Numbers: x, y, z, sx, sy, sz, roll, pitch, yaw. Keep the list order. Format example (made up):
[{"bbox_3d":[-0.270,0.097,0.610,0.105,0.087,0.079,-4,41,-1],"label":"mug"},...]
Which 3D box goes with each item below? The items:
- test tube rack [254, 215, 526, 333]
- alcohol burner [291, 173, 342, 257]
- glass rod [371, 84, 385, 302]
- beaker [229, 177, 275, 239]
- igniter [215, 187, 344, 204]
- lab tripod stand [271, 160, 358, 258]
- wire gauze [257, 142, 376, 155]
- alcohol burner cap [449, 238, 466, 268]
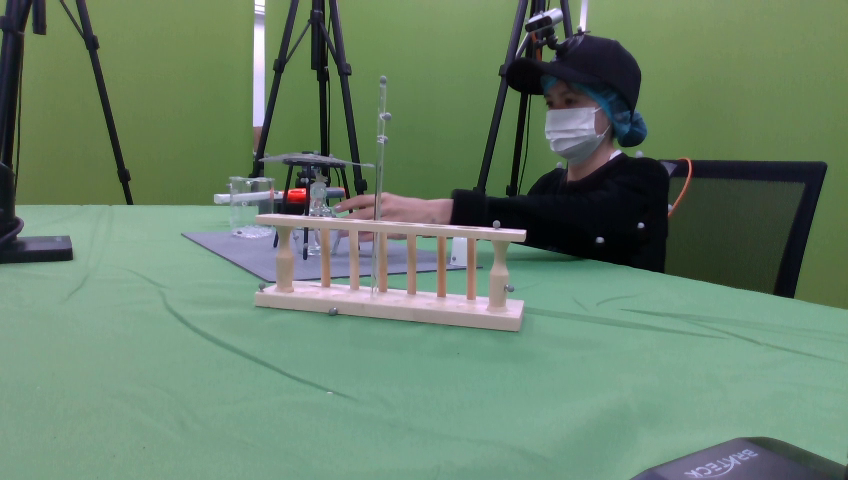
[{"bbox_3d":[-0.030,0.025,0.558,0.242,0.085,0.067,4,7,12],"label":"test tube rack"},{"bbox_3d":[-0.155,-0.037,0.870,0.078,0.119,0.078,1,6,0],"label":"alcohol burner"},{"bbox_3d":[-0.041,-0.041,0.548,0.008,0.199,0.008,2,2,0],"label":"glass rod"},{"bbox_3d":[-0.292,-0.056,1.023,0.074,0.100,0.083,-1,8,-26],"label":"beaker"},{"bbox_3d":[-0.289,-0.093,1.255,0.278,0.025,0.057,-6,12,-34],"label":"igniter"},{"bbox_3d":[-0.160,-0.048,0.876,0.148,0.131,0.148,3,5,0],"label":"lab tripod stand"},{"bbox_3d":[-0.155,-0.130,0.871,0.124,0.011,0.122,-1,7,36],"label":"wire gauze"},{"bbox_3d":[0.051,0.014,0.828,0.034,0.048,0.034,2,6,0],"label":"alcohol burner cap"}]
